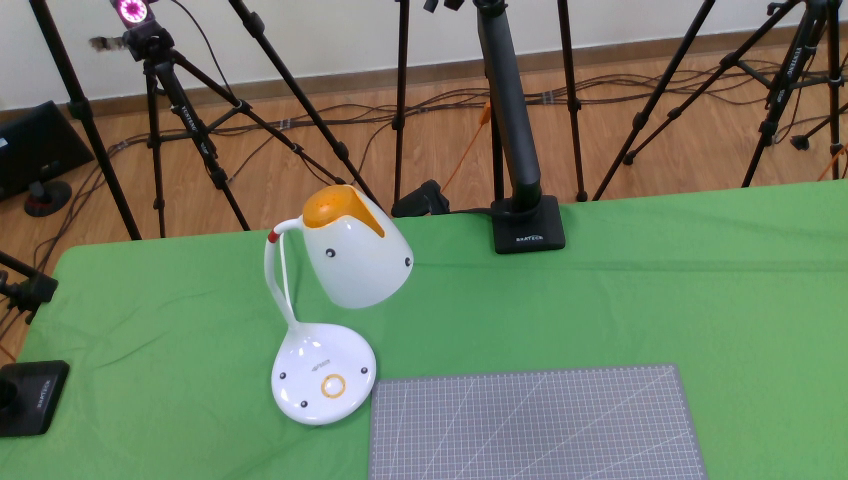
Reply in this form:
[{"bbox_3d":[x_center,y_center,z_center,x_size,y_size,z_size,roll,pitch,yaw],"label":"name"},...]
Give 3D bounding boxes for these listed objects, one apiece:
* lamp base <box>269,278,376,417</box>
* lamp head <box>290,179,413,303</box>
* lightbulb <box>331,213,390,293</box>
[{"bbox_3d":[-0.170,0.142,0.871,0.160,0.182,0.177,-38,56,-19],"label":"lamp base"},{"bbox_3d":[-0.087,-0.008,0.672,0.112,0.124,0.111,-19,40,17],"label":"lamp head"},{"bbox_3d":[-0.076,0.013,0.682,0.059,0.109,0.059,-12,40,11],"label":"lightbulb"}]
